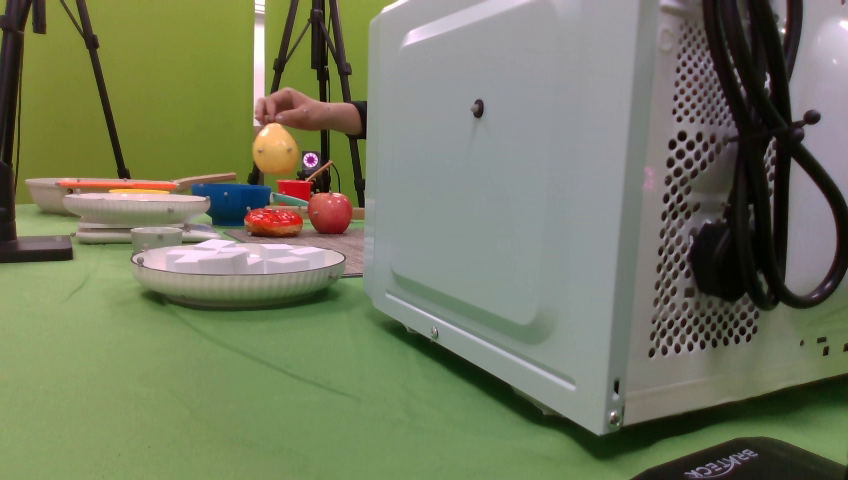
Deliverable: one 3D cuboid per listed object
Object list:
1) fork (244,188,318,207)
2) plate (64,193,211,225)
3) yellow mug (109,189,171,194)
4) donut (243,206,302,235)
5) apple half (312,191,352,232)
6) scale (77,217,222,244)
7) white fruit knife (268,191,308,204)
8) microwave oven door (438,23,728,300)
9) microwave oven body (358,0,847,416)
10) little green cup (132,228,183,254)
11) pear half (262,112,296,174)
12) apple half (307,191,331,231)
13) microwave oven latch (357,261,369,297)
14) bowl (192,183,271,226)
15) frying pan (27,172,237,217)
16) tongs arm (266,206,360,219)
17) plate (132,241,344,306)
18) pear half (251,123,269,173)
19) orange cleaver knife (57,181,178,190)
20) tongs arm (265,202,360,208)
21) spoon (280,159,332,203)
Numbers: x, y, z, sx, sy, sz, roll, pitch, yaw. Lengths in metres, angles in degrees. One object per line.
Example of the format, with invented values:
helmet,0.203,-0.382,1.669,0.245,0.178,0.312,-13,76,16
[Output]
fork,-0.356,-0.105,1.526,0.208,0.018,0.028,16,-5,-41
plate,-0.446,-0.050,0.952,0.209,0.038,0.209,2,7,0
yellow mug,-0.519,-0.055,1.080,0.099,0.064,0.131,7,9,26
donut,-0.261,-0.032,1.043,0.099,0.048,0.099,3,9,0
apple half,-0.160,-0.050,1.101,0.053,0.074,0.081,9,7,23
scale,-0.434,-0.018,0.963,0.202,0.031,0.148,-1,8,-27
white fruit knife,-0.364,-0.105,1.464,0.208,0.027,0.016,15,0,-34
microwave oven door,0.181,-0.073,0.621,0.358,0.243,0.039,-2,8,-29
microwave oven body,0.211,-0.047,0.474,0.444,0.260,0.324,-1,7,-28
little green cup,-0.342,0.006,0.779,0.061,0.038,0.061,2,8,0
pear half,-0.257,-0.174,1.082,0.056,0.109,0.076,0,6,-7
apple half,-0.197,-0.055,1.114,0.032,0.081,0.081,9,10,22
microwave oven latch,-0.019,0.033,0.530,0.079,0.029,0.030,-1,7,-26
bowl,-0.382,-0.071,1.202,0.151,0.077,0.151,3,7,0
frying pan,-0.624,-0.118,1.387,0.305,0.102,0.490,8,17,32
tongs arm,-0.173,-0.061,1.362,0.387,0.026,0.050,-1,5,-31
plate,-0.187,0.033,0.625,0.208,0.039,0.207,2,7,0
pear half,-0.292,-0.164,1.079,0.031,0.088,0.070,1,5,-9
orange cleaver knife,-0.600,-0.109,1.189,0.212,0.012,0.077,-1,11,-26
tongs arm,-0.209,-0.071,1.439,0.389,0.027,0.028,1,1,-16
spoon,-0.316,-0.159,1.640,0.194,0.022,0.041,-50,32,-20
